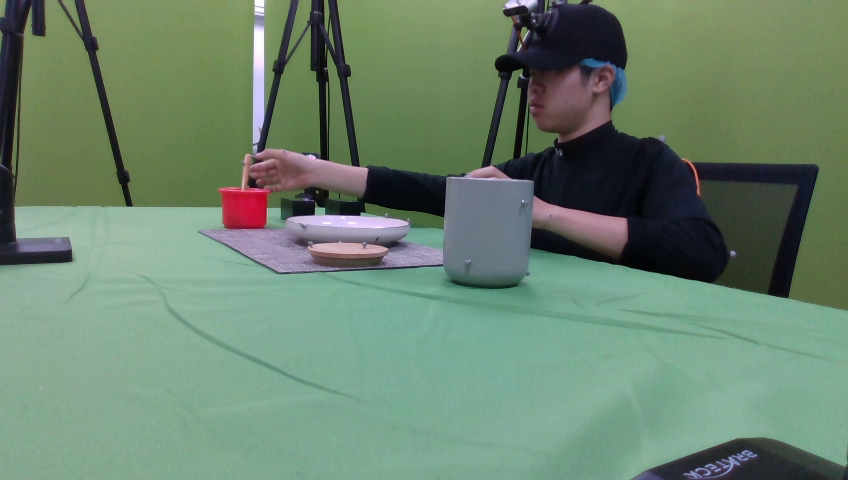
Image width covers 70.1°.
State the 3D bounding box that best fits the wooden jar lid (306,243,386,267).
[{"bbox_3d":[-0.105,0.020,0.816,0.108,0.020,0.108,1,7,0],"label":"wooden jar lid"}]

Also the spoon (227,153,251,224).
[{"bbox_3d":[-0.363,-0.107,1.211,0.042,0.021,0.193,-1,47,-7],"label":"spoon"}]

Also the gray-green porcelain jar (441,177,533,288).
[{"bbox_3d":[0.075,-0.010,0.727,0.106,0.126,0.106,2,7,0],"label":"gray-green porcelain jar"}]

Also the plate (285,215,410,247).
[{"bbox_3d":[-0.127,-0.015,1.012,0.208,0.039,0.207,3,7,0],"label":"plate"}]
